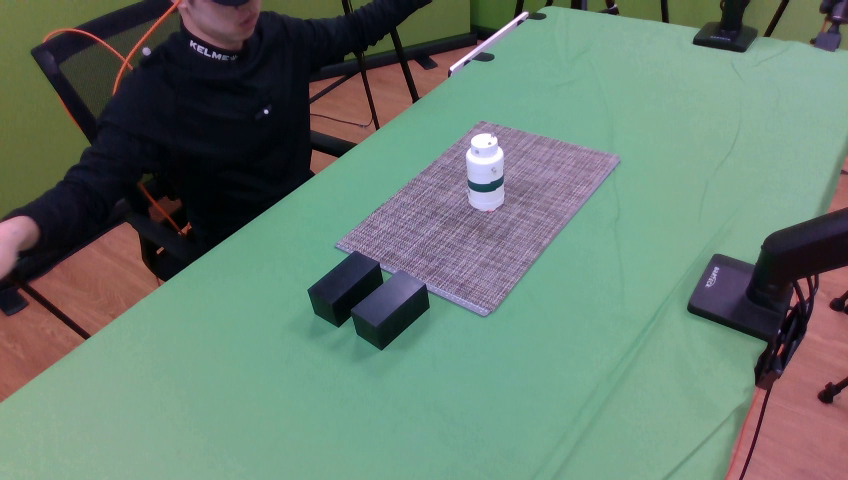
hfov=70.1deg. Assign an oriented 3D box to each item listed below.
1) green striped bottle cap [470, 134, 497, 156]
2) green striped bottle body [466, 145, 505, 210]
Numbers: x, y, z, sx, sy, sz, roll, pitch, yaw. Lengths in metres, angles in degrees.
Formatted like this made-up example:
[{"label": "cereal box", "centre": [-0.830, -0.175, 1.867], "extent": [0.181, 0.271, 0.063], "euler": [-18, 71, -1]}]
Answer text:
[{"label": "green striped bottle cap", "centre": [0.095, -0.152, 0.971], "extent": [0.044, 0.020, 0.044], "euler": [-3, 38, 3]}, {"label": "green striped bottle body", "centre": [0.102, -0.113, 1.005], "extent": [0.063, 0.120, 0.063], "euler": [-4, 41, 4]}]
